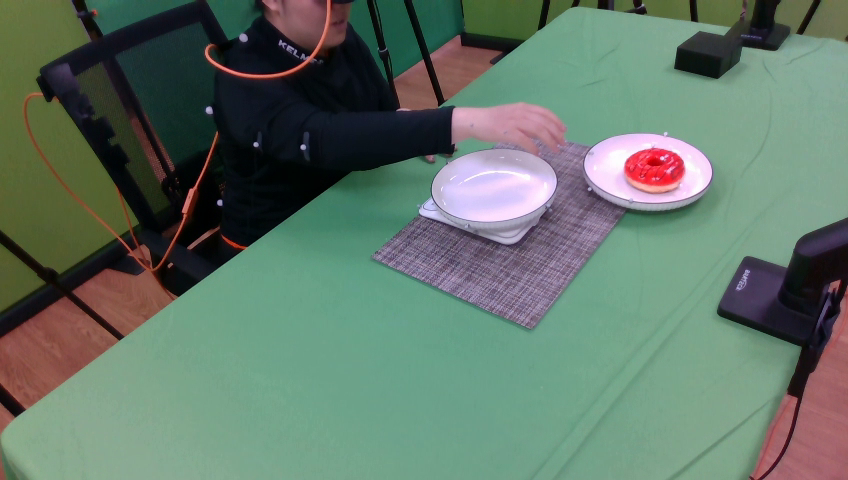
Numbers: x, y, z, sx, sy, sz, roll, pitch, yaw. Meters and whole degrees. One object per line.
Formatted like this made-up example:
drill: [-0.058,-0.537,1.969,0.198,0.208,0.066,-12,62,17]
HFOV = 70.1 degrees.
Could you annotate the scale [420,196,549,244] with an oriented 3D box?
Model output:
scale: [0.106,-0.065,1.029,0.199,0.032,0.149,21,48,32]

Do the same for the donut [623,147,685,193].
donut: [0.388,-0.119,1.019,0.099,0.048,0.098,-4,42,5]

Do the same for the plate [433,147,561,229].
plate: [0.120,-0.082,0.996,0.207,0.039,0.206,-6,40,5]

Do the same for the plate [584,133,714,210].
plate: [0.379,-0.113,1.030,0.209,0.038,0.208,-4,41,4]
